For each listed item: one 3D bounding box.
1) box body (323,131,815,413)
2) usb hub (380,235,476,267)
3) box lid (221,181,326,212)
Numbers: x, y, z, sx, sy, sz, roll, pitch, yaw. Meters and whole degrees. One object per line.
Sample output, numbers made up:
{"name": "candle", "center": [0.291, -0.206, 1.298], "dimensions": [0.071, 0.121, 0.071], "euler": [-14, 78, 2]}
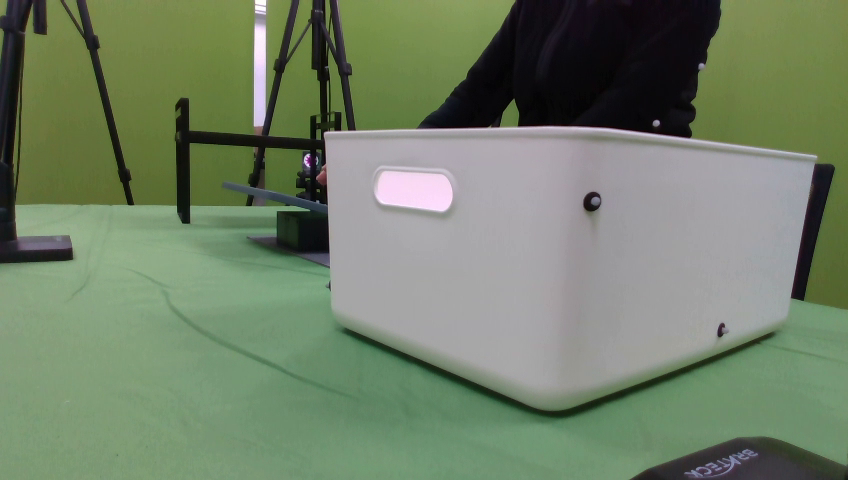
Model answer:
{"name": "box body", "center": [0.125, 0.000, 0.510], "dimensions": [0.366, 0.160, 0.253], "euler": [-4, 10, -41]}
{"name": "usb hub", "center": [0.006, 0.013, 0.817], "dimensions": [0.126, 0.025, 0.049], "euler": [-7, 11, -32]}
{"name": "box lid", "center": [-0.119, -0.040, 0.993], "dimensions": [0.374, 0.015, 0.262], "euler": [13, 1, -36]}
